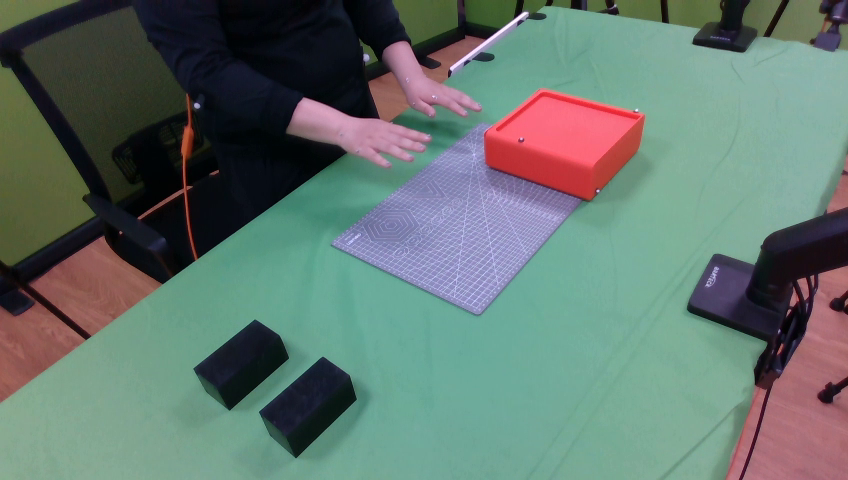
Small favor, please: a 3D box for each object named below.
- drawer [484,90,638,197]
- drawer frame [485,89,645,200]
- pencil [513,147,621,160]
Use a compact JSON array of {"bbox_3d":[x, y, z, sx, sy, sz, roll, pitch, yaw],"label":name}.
[{"bbox_3d":[0.247,-0.180,1.097,0.210,0.073,0.195,25,49,31],"label":"drawer"},{"bbox_3d":[0.253,-0.180,1.094,0.212,0.083,0.202,24,48,31],"label":"drawer frame"},{"bbox_3d":[0.259,-0.156,1.101,0.194,0.012,0.012,-4,40,3],"label":"pencil"}]
